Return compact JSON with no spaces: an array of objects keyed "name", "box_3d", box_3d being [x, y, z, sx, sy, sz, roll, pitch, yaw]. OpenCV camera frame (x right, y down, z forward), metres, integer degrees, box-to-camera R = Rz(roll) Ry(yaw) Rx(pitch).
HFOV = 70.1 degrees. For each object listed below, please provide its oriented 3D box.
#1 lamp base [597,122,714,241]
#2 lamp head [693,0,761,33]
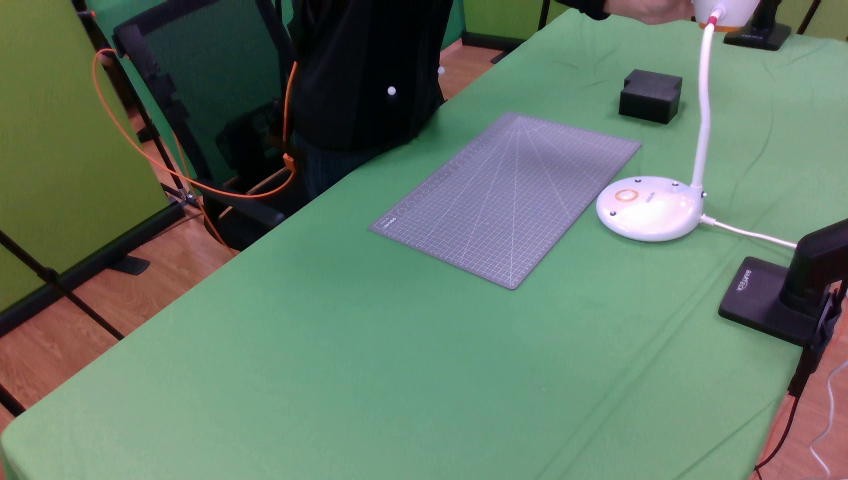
[{"name":"lamp base","box_3d":[0.364,-0.109,0.921,0.178,0.181,0.160,13,45,21]},{"name":"lamp head","box_3d":[0.438,-0.362,0.869,0.112,0.123,0.112,2,28,0]}]
